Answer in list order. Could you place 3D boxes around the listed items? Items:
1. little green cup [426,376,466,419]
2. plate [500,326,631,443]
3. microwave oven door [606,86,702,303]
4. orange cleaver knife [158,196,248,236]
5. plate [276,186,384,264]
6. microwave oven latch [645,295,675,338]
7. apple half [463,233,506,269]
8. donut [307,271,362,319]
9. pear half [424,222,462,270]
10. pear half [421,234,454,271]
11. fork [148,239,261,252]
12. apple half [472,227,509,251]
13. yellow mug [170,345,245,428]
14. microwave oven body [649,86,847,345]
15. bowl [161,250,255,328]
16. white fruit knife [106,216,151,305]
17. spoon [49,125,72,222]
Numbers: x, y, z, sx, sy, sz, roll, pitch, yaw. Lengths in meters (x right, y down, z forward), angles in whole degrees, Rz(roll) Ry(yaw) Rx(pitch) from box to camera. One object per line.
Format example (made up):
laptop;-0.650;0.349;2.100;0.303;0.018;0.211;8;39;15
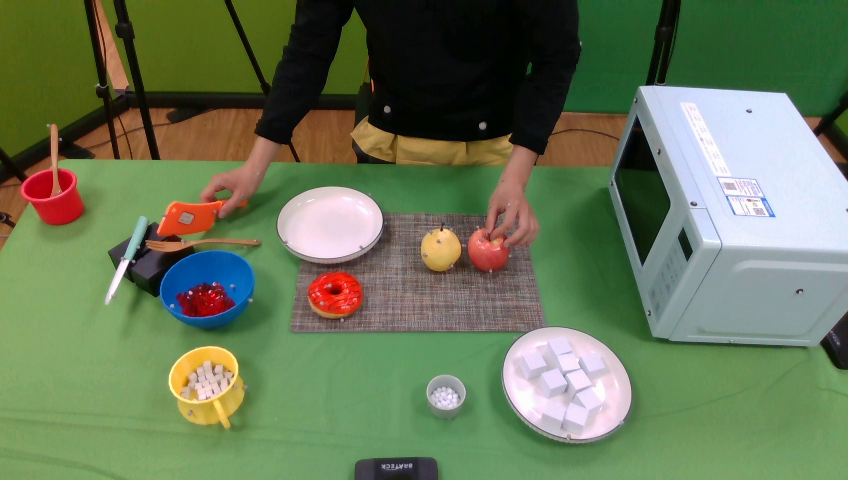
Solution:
little green cup;0.033;0.248;0.950;0.061;0.039;0.061;2;46;-2
plate;0.224;0.234;0.978;0.208;0.039;0.206;2;46;-2
microwave oven door;0.423;-0.094;1.140;0.039;0.245;0.353;2;46;-1
orange cleaver knife;-0.423;-0.048;1.173;0.012;0.077;0.211;30;21;19
plate;-0.184;-0.027;1.194;0.209;0.038;0.208;2;46;-2
microwave oven latch;0.412;0.134;1.061;0.030;0.029;0.078;3;45;0
apple half;0.119;0.023;1.145;0.081;0.075;0.053;-11;49;-23
donut;-0.157;0.097;1.073;0.099;0.048;0.098;4;45;-4
pear half;0.039;0.000;1.135;0.076;0.110;0.056;24;49;15
pear half;0.020;0.028;1.120;0.070;0.088;0.031;25;49;13
fork;-0.399;0.007;1.118;0.208;0.019;0.028;-4;36;-36
apple half;0.124;0.000;1.166;0.081;0.081;0.032;3;49;-1
yellow mug;-0.322;0.230;0.922;0.100;0.064;0.130;-24;53;-25
microwave oven body;0.567;-0.053;1.118;0.326;0.261;0.439;2;45;-1
bowl;-0.362;0.097;1.040;0.151;0.077;0.150;2;45;-2
white fruit knife;-0.519;0.032;1.066;0.027;0.016;0.206;-18;45;19
spoon;-0.717;-0.132;1.189;0.041;0.021;0.193;-3;90;-7
